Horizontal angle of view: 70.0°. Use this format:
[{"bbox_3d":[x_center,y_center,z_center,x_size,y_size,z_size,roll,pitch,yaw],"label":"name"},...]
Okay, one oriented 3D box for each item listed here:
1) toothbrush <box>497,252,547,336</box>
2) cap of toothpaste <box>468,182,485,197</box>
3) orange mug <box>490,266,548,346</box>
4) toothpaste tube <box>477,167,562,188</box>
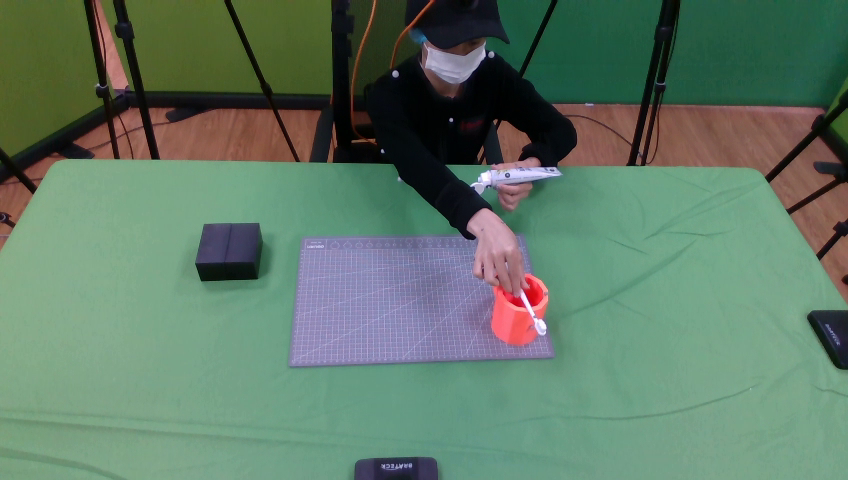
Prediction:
[{"bbox_3d":[0.159,0.083,1.001,0.014,0.017,0.180,-11,48,-15],"label":"toothbrush"},{"bbox_3d":[0.103,-0.102,1.196,0.037,0.037,0.011,-13,51,-17],"label":"cap of toothpaste"},{"bbox_3d":[0.155,0.106,1.051,0.083,0.101,0.125,-15,53,-18],"label":"orange mug"},{"bbox_3d":[0.189,-0.129,1.213,0.165,0.034,0.055,-8,28,-3],"label":"toothpaste tube"}]
